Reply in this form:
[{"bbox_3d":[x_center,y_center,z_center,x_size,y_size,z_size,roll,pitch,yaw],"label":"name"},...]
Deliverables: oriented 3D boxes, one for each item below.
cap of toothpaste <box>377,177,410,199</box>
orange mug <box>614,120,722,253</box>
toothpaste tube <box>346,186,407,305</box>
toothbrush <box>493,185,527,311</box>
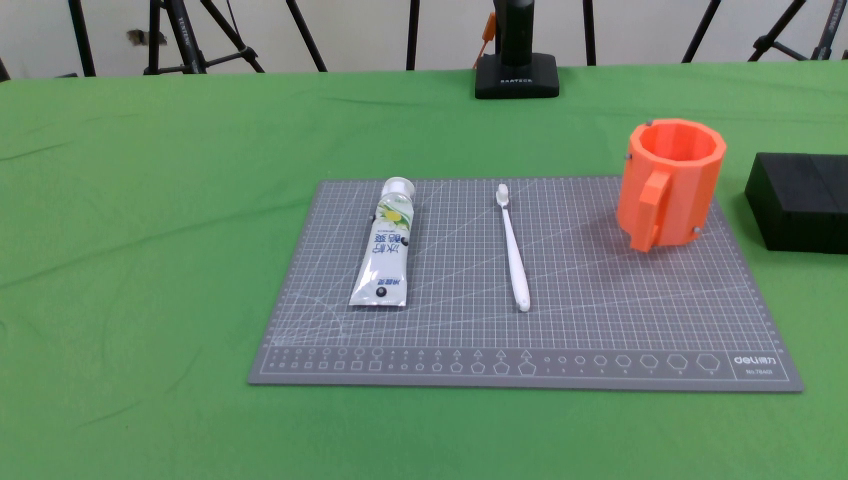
[{"bbox_3d":[-0.034,-0.054,0.672,0.037,0.038,0.011,2,48,8],"label":"cap of toothpaste"},{"bbox_3d":[0.231,-0.048,0.595,0.083,0.102,0.126,20,42,26],"label":"orange mug"},{"bbox_3d":[-0.042,0.001,0.619,0.055,0.035,0.163,-4,45,9],"label":"toothpaste tube"},{"bbox_3d":[0.086,0.002,0.613,0.014,0.017,0.180,6,41,-7],"label":"toothbrush"}]
